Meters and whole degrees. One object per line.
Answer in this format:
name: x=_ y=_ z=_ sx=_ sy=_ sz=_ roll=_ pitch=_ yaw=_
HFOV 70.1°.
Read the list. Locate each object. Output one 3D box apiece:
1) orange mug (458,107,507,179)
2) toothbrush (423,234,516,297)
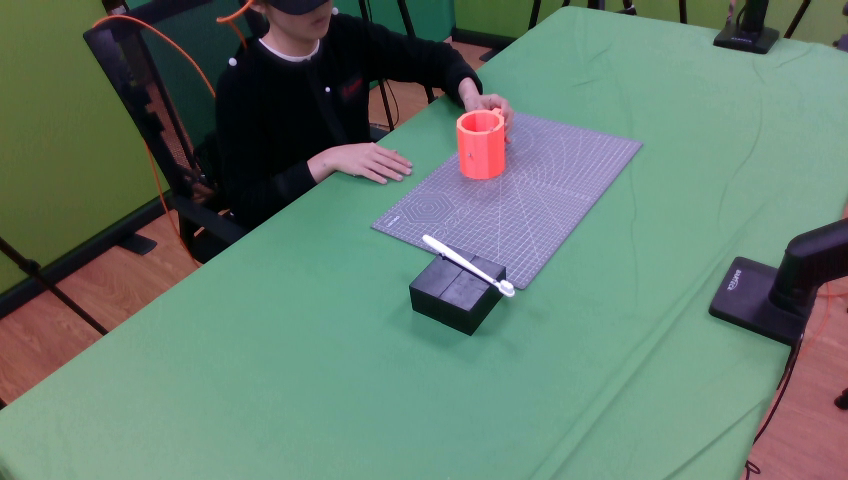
orange mug: x=0.117 y=-0.187 z=1.112 sx=0.083 sy=0.101 sz=0.126 roll=19 pitch=51 yaw=28
toothbrush: x=0.060 y=0.031 z=0.859 sx=0.014 sy=0.017 sz=0.180 roll=-36 pitch=48 yaw=-25
